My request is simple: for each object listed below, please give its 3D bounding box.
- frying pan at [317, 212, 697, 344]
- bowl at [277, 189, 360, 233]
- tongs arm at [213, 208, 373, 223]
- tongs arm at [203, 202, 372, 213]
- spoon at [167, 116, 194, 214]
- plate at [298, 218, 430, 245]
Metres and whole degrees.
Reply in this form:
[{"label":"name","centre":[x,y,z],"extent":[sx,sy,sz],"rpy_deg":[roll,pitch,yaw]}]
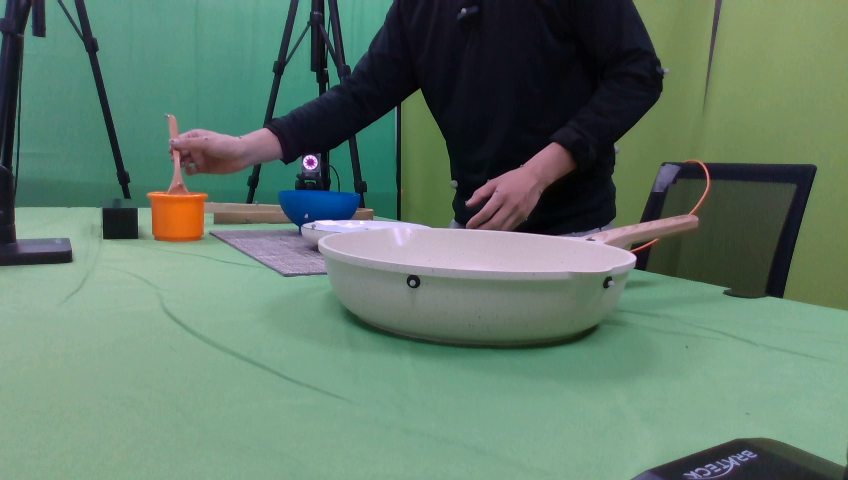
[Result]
[{"label":"frying pan","centre":[0.133,0.013,0.629],"extent":[0.490,0.102,0.305],"rpy_deg":[-12,14,-31]},{"label":"bowl","centre":[-0.195,-0.052,1.117],"extent":[0.151,0.077,0.151],"rpy_deg":[2,7,0]},{"label":"tongs arm","centre":[-0.274,-0.054,1.347],"extent":[0.390,0.028,0.028],"rpy_deg":[-3,7,-37]},{"label":"tongs arm","centre":[-0.312,-0.069,1.417],"extent":[0.387,0.026,0.050],"rpy_deg":[0,8,-24]},{"label":"spoon","centre":[-0.417,-0.129,1.024],"extent":[0.042,0.193,0.021],"rpy_deg":[1,-22,-33]},{"label":"plate","centre":[-0.091,-0.006,0.949],"extent":[0.208,0.039,0.207],"rpy_deg":[2,7,0]}]
